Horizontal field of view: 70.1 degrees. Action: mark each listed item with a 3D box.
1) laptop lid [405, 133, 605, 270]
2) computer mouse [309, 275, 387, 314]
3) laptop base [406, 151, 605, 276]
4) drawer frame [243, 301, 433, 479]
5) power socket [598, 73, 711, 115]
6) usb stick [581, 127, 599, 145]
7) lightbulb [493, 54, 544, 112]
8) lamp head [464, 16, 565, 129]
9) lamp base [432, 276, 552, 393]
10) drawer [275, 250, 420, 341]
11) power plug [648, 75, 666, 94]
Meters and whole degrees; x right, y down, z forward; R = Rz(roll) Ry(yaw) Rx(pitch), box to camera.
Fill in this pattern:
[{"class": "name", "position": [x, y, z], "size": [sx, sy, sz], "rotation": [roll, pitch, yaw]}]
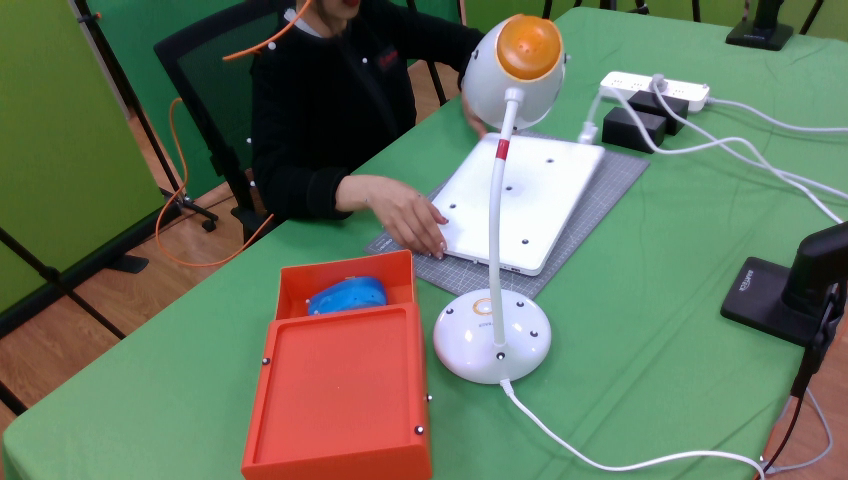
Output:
[{"class": "laptop lid", "position": [0.148, -0.085, 1.043], "size": [0.240, 0.013, 0.357], "rotation": [14, 45, 29]}, {"class": "computer mouse", "position": [-0.112, 0.089, 0.881], "size": [0.117, 0.041, 0.062], "rotation": [-16, 42, 0]}, {"class": "laptop base", "position": [0.152, -0.075, 1.049], "size": [0.234, 0.023, 0.354], "rotation": [12, 44, 28]}, {"class": "drawer frame", "position": [-0.096, 0.185, 0.738], "size": [0.202, 0.083, 0.212], "rotation": [-8, 40, 1]}, {"class": "power socket", "position": [0.470, -0.303, 1.249], "size": [0.225, 0.033, 0.072], "rotation": [20, 49, 30]}, {"class": "usb stick", "position": [0.308, -0.186, 1.132], "size": [0.021, 0.027, 0.059], "rotation": [19, 50, 22]}, {"class": "lightbulb", "position": [0.109, -0.181, 0.679], "size": [0.059, 0.059, 0.107], "rotation": [-10, -3, 0]}, {"class": "lamp head", "position": [0.101, -0.184, 0.655], "size": [0.112, 0.112, 0.123], "rotation": [-9, 0, 0]}, {"class": "lamp base", "position": [0.085, 0.075, 0.756], "size": [0.161, 0.181, 0.178], "rotation": [-14, 44, -6]}, {"class": "drawer", "position": [-0.104, 0.117, 0.825], "size": [0.194, 0.073, 0.210], "rotation": [-8, 40, 1]}, {"class": "power plug", "position": [0.457, -0.301, 1.212], "size": [0.073, 0.053, 0.035], "rotation": [-36, 46, -28]}]
